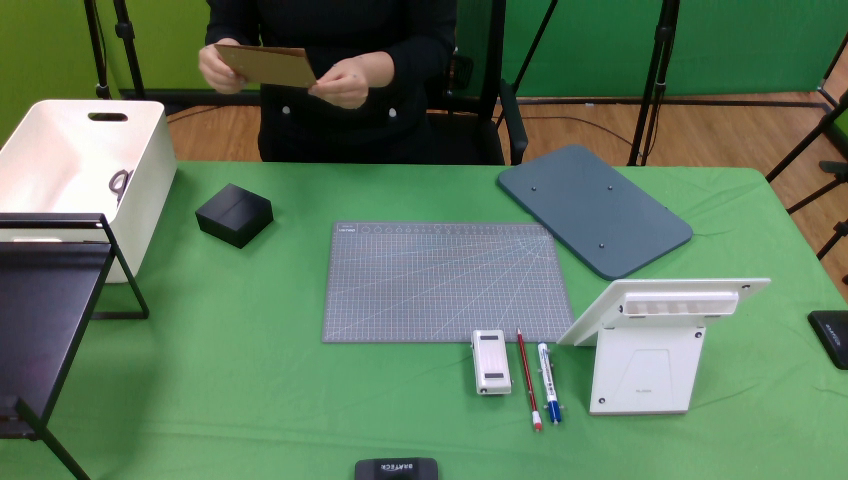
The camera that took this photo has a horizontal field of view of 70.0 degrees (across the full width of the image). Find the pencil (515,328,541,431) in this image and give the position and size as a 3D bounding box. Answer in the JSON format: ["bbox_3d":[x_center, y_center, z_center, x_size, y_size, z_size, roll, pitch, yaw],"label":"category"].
[{"bbox_3d":[0.169,0.224,1.002,0.012,0.012,0.192,-2,46,-6],"label":"pencil"}]

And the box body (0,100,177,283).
[{"bbox_3d":[-0.639,-0.095,1.140,0.254,0.161,0.361,0,46,-4],"label":"box body"}]

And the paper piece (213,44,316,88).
[{"bbox_3d":[-0.247,-0.274,0.957,0.135,0.136,0.004,5,81,1],"label":"paper piece"}]

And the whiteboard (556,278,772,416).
[{"bbox_3d":[0.347,0.174,0.903,0.217,0.306,0.143,1,65,-4],"label":"whiteboard"}]

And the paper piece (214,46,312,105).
[{"bbox_3d":[-0.250,-0.256,0.955,0.136,0.138,0.008,24,86,0],"label":"paper piece"}]

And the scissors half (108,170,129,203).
[{"bbox_3d":[-0.617,-0.077,1.222,0.040,0.013,0.174,-15,52,-7],"label":"scissors half"}]

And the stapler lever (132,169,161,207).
[{"bbox_3d":[-0.557,-0.113,1.218,0.027,0.040,0.117,1,42,-8],"label":"stapler lever"}]

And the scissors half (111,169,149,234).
[{"bbox_3d":[-0.596,-0.078,1.223,0.040,0.013,0.174,5,52,2],"label":"scissors half"}]

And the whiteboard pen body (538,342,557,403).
[{"bbox_3d":[0.205,0.228,0.997,0.017,0.017,0.140,1,46,-3],"label":"whiteboard pen body"}]

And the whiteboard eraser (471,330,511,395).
[{"bbox_3d":[0.110,0.202,0.998,0.055,0.042,0.112,1,46,-5],"label":"whiteboard eraser"}]

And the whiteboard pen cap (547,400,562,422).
[{"bbox_3d":[0.205,0.269,0.956,0.018,0.018,0.033,0,47,-5],"label":"whiteboard pen cap"}]

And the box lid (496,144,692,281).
[{"bbox_3d":[0.360,-0.073,1.305,0.263,0.015,0.369,-24,52,-25],"label":"box lid"}]

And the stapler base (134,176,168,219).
[{"bbox_3d":[-0.558,-0.093,1.234,0.041,0.024,0.129,1,42,-8],"label":"stapler base"}]
